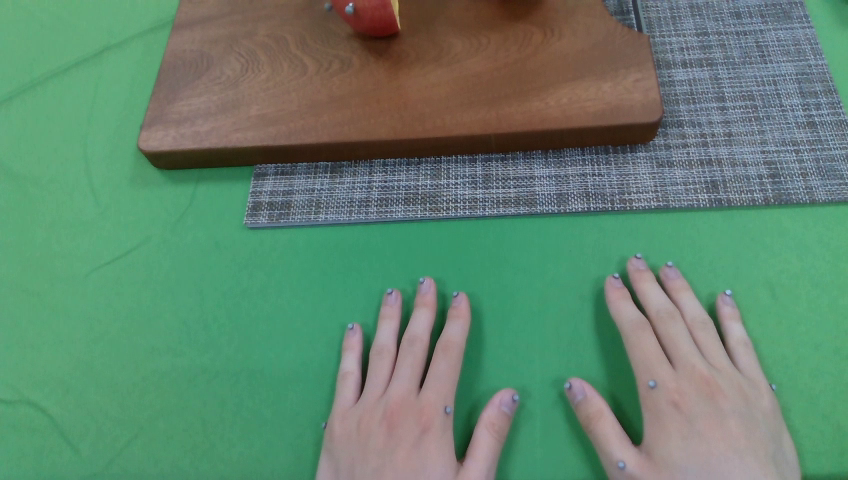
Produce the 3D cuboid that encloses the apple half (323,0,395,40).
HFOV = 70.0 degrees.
[{"bbox_3d":[-0.055,-0.200,0.480,0.053,0.075,0.080,-10,65,6],"label":"apple half"}]
